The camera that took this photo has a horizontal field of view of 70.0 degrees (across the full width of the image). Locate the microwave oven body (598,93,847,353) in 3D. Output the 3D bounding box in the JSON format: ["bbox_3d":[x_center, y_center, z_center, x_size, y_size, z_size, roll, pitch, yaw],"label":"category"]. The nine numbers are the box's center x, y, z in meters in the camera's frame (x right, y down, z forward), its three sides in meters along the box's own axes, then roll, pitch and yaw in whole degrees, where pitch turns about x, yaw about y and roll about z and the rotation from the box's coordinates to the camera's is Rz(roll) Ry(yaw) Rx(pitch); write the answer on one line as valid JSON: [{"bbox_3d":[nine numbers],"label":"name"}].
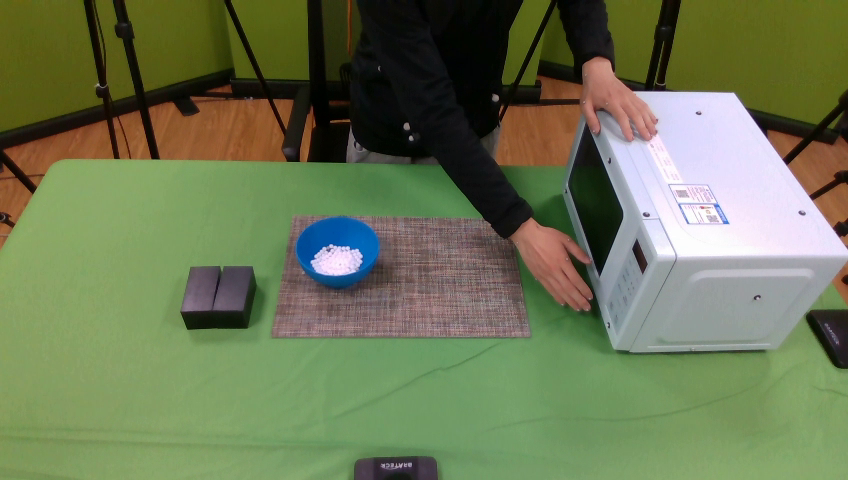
[{"bbox_3d":[0.475,-0.041,1.109,0.326,0.261,0.438,-1,45,-4],"label":"microwave oven body"}]

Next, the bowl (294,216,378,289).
[{"bbox_3d":[-0.158,0.036,1.110,0.151,0.077,0.150,3,45,-2],"label":"bowl"}]

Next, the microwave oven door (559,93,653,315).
[{"bbox_3d":[0.327,-0.074,1.123,0.039,0.245,0.353,-1,46,-5],"label":"microwave oven door"}]

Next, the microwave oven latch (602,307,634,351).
[{"bbox_3d":[0.332,0.153,1.044,0.030,0.029,0.078,0,45,-4],"label":"microwave oven latch"}]
